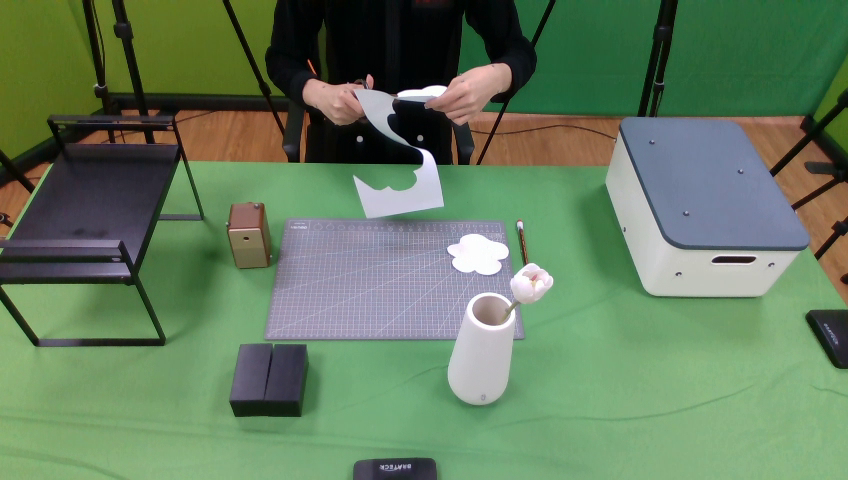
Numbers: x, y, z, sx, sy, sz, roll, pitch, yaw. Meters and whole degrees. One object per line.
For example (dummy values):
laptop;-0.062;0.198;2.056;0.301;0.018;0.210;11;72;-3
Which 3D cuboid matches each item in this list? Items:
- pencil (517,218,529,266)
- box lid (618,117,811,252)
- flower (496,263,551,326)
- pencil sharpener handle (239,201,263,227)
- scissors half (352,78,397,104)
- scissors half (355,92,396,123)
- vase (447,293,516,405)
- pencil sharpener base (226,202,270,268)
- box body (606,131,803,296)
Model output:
pencil;0.200;0.027;1.196;0.012;0.012;0.193;1;48;-3
box lid;0.534;-0.117;1.149;0.263;0.015;0.369;0;47;-3
flower;0.102;0.120;0.853;0.044;0.363;0.038;-2;64;-10
pencil sharpener handle;-0.324;-0.056;1.150;0.036;0.068;0.030;-14;46;4
scissors half;-0.090;-0.262;1.081;0.013;0.040;0.174;-17;28;-26
scissors half;-0.088;-0.241;1.085;0.013;0.175;0.040;-11;93;-27
vase;0.091;0.169;0.921;0.098;0.201;0.097;3;47;-3
pencil sharpener base;-0.323;-0.010;1.123;0.061;0.107;0.076;-3;46;-7
box body;0.530;-0.067;1.204;0.254;0.161;0.361;1;46;-4
